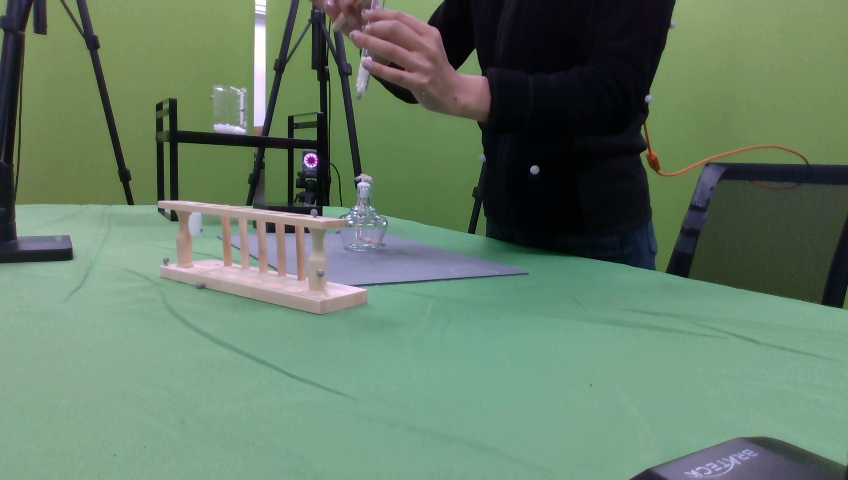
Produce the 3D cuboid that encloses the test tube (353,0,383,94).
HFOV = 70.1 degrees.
[{"bbox_3d":[-0.067,-0.253,0.744,0.017,0.150,0.017,10,-5,1],"label":"test tube"}]

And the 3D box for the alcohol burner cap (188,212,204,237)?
[{"bbox_3d":[-0.390,-0.029,1.025,0.034,0.048,0.034,2,8,0],"label":"alcohol burner cap"}]

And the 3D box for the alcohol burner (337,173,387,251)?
[{"bbox_3d":[-0.095,-0.043,0.926,0.078,0.119,0.078,3,6,0],"label":"alcohol burner"}]

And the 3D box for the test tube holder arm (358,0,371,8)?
[{"bbox_3d":[-0.064,-0.317,0.771,0.010,0.015,0.087,14,-9,-36],"label":"test tube holder arm"}]

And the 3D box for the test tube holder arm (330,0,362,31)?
[{"bbox_3d":[-0.092,-0.316,0.806,0.013,0.015,0.177,14,-9,-28],"label":"test tube holder arm"}]

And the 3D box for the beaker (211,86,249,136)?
[{"bbox_3d":[-0.413,-0.274,1.297,0.074,0.100,0.083,-5,11,-44],"label":"beaker"}]

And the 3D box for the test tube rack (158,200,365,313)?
[{"bbox_3d":[-0.173,0.009,0.624,0.241,0.085,0.067,7,9,34],"label":"test tube rack"}]
